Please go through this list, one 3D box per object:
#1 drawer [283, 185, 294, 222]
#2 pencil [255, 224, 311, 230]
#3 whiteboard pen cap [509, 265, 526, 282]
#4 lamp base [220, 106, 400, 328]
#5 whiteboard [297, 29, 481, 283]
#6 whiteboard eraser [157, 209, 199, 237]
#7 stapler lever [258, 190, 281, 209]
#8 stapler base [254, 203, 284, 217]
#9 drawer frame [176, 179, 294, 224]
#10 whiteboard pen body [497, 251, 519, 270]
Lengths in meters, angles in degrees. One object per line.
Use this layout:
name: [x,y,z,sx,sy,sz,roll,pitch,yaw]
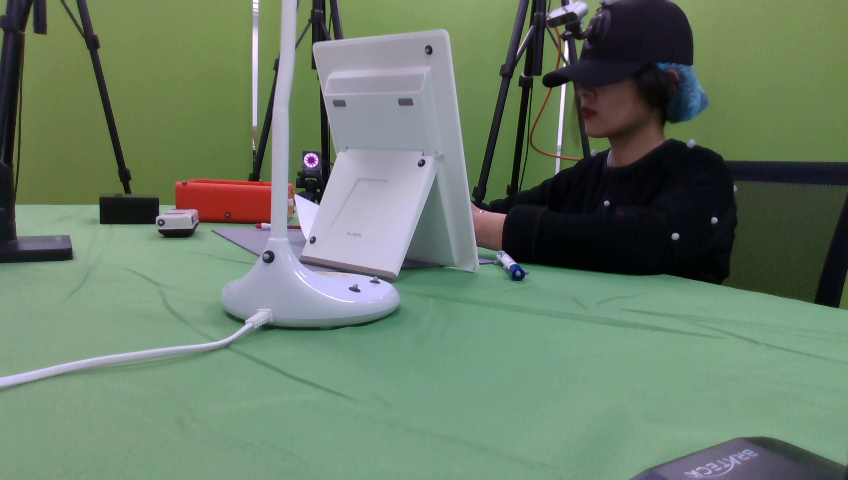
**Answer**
drawer: [-0.390,-0.084,1.301,0.212,0.073,0.194,1,8,-8]
pencil: [-0.216,-0.023,1.133,0.195,0.012,0.012,1,7,-21]
whiteboard pen cap: [0.116,0.040,0.752,0.018,0.018,0.033,2,10,-1]
lamp base: [-0.101,-0.023,0.531,0.160,0.180,0.179,4,10,10]
whiteboard: [-0.075,-0.082,0.741,0.216,0.305,0.144,9,29,37]
whiteboard eraser: [-0.411,-0.029,1.016,0.056,0.042,0.112,2,7,-16]
stapler lever: [-0.333,-0.091,1.305,0.027,0.040,0.118,5,9,-2]
stapler base: [-0.334,-0.068,1.307,0.041,0.024,0.130,5,6,-2]
drawer frame: [-0.395,-0.086,1.299,0.214,0.082,0.201,1,8,-9]
whiteboard pen body: [0.116,0.032,0.810,0.017,0.017,0.140,2,8,-2]
